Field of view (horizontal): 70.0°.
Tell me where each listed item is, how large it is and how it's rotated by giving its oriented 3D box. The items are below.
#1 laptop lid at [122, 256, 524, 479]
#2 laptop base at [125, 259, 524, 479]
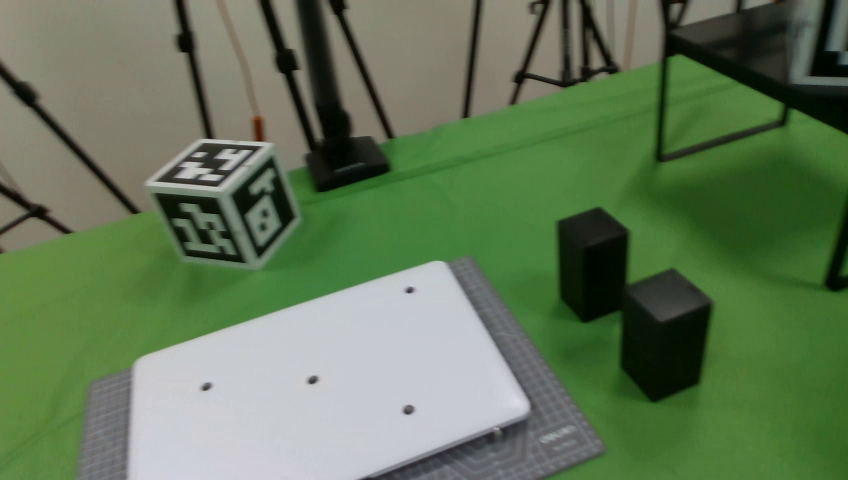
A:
[{"bbox_3d":[-0.110,0.134,0.584,0.357,0.013,0.239,-17,39,-9],"label":"laptop lid"},{"bbox_3d":[-0.108,0.143,0.593,0.355,0.023,0.232,-18,40,-10],"label":"laptop base"}]
